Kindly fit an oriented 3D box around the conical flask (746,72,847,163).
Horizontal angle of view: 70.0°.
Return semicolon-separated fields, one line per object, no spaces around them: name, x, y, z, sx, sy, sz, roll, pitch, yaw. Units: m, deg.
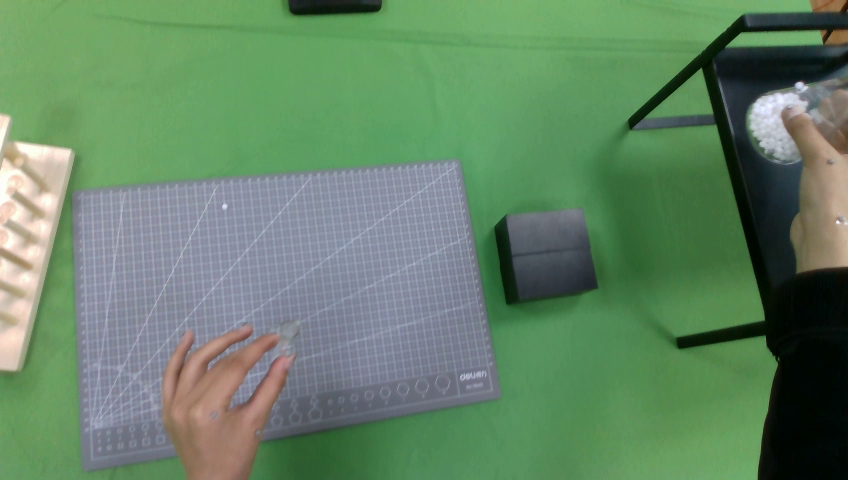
conical flask;0.362;-0.122;0.546;0.075;0.122;0.075;3;79;-14

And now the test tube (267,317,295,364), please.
test tube;-0.128;0.092;0.536;0.017;0.150;0.017;6;69;-15

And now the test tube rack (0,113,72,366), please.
test tube rack;-0.434;0.001;0.612;0.067;0.085;0.241;8;75;-9
